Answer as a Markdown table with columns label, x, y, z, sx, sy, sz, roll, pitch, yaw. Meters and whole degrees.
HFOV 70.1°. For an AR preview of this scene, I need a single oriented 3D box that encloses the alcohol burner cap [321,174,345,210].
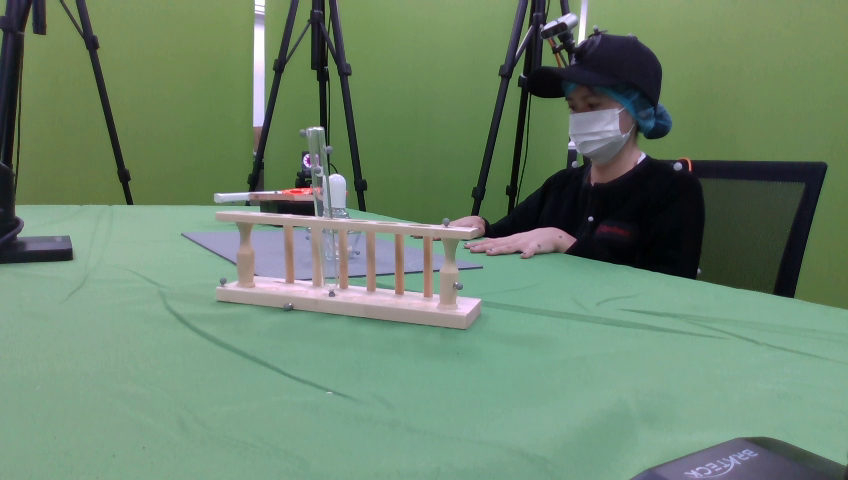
| label | x | y | z | sx | sy | sz | roll | pitch | yaw |
| --- | --- | --- | --- | --- | --- | --- | --- | --- | --- |
| alcohol burner cap | -0.125 | -0.067 | 0.833 | 0.034 | 0.048 | 0.034 | 6 | 9 | -1 |

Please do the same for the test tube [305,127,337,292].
| label | x | y | z | sx | sy | sz | roll | pitch | yaw |
| --- | --- | --- | --- | --- | --- | --- | --- | --- | --- |
| test tube | -0.092 | -0.026 | 0.546 | 0.017 | 0.150 | 0.017 | -4 | 8 | 1 |

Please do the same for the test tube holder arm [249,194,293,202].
| label | x | y | z | sx | sy | sz | roll | pitch | yaw |
| --- | --- | --- | --- | --- | --- | --- | --- | --- | --- |
| test tube holder arm | -0.303 | -0.084 | 1.200 | 0.088 | 0.015 | 0.010 | -2 | 1 | -35 |

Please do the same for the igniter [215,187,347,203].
| label | x | y | z | sx | sy | sz | roll | pitch | yaw |
| --- | --- | --- | --- | --- | --- | --- | --- | --- | --- |
| igniter | -0.293 | -0.095 | 1.267 | 0.278 | 0.025 | 0.057 | -6 | 12 | -33 |

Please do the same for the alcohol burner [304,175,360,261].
| label | x | y | z | sx | sy | sz | roll | pitch | yaw |
| --- | --- | --- | --- | --- | --- | --- | --- | --- | --- |
| alcohol burner | -0.126 | -0.031 | 0.838 | 0.078 | 0.119 | 0.078 | 3 | 5 | 0 |

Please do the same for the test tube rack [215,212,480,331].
| label | x | y | z | sx | sy | sz | roll | pitch | yaw |
| --- | --- | --- | --- | --- | --- | --- | --- | --- | --- |
| test tube rack | -0.071 | 0.023 | 0.565 | 0.242 | 0.085 | 0.067 | 5 | 7 | 16 |

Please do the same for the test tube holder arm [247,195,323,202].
| label | x | y | z | sx | sy | sz | roll | pitch | yaw |
| --- | --- | --- | --- | --- | --- | --- | --- | --- | --- |
| test tube holder arm | -0.269 | -0.085 | 1.230 | 0.179 | 0.015 | 0.013 | -2 | 1 | -35 |
